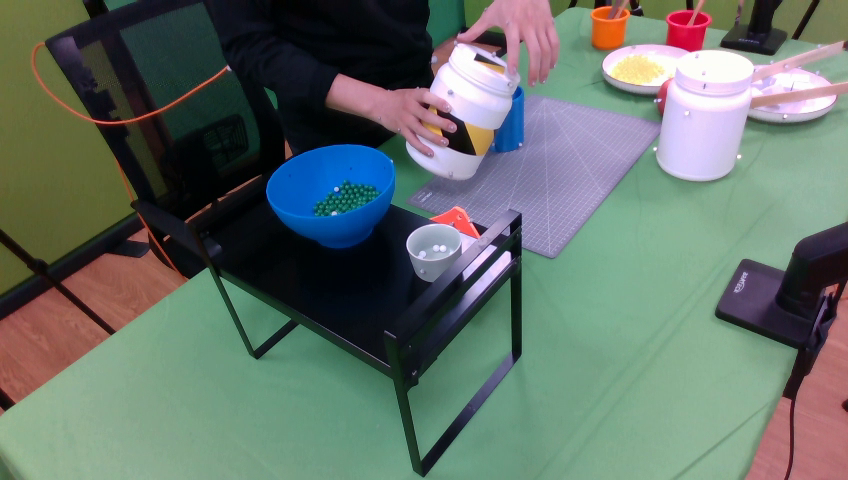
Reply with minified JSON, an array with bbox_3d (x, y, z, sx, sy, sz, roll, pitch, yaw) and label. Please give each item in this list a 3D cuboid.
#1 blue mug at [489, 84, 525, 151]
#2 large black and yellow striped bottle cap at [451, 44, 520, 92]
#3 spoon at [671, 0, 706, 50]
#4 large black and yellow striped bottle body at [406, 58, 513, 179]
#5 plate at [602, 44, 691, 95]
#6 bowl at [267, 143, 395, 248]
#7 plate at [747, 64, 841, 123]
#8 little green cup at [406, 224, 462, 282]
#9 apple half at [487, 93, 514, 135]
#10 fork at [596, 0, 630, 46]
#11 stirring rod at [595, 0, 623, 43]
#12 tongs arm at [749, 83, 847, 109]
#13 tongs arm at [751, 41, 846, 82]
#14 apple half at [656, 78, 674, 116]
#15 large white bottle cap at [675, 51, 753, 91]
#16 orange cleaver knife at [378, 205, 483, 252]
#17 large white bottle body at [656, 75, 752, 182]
[{"bbox_3d":[0.138,-0.240,1.169,0.116,0.106,0.082,10,44,21],"label":"blue mug"},{"bbox_3d":[0.097,-0.270,0.944,0.115,0.019,0.114,21,34,-14],"label":"large black and yellow striped bottle cap"},{"bbox_3d":[0.629,-0.520,1.394,0.041,0.022,0.193,30,96,34],"label":"spoon"},{"bbox_3d":[0.063,-0.207,0.988,0.131,0.184,0.130,20,32,-13],"label":"large black and yellow striped bottle body"},{"bbox_3d":[0.495,-0.367,1.317,0.209,0.038,0.208,-4,40,4],"label":"plate"},{"bbox_3d":[-0.104,-0.043,0.726,0.151,0.077,0.150,-4,40,4],"label":"bowl"},{"bbox_3d":[0.695,-0.283,1.189,0.207,0.039,0.206,-4,40,4],"label":"plate"},{"bbox_3d":[0.012,0.015,0.668,0.061,0.039,0.061,-4,40,4],"label":"little green cup"},{"bbox_3d":[0.141,-0.238,1.158,0.033,0.081,0.080,-12,40,-15],"label":"apple half"},{"bbox_3d":[0.481,-0.556,1.452,0.028,0.019,0.207,40,103,40],"label":"fork"},{"bbox_3d":[0.460,-0.556,1.459,0.014,0.006,0.176,30,93,23],"label":"stirring rod"},{"bbox_3d":[0.734,-0.280,1.134,0.388,0.028,0.028,-9,47,-5],"label":"tongs arm"},{"bbox_3d":[0.708,-0.331,1.194,0.386,0.026,0.050,-18,45,-16],"label":"tongs arm"},{"bbox_3d":[0.488,-0.281,1.192,0.053,0.075,0.081,24,53,37],"label":"apple half"},{"bbox_3d":[0.463,-0.271,0.967,0.115,0.018,0.114,-4,40,3],"label":"large white bottle cap"},{"bbox_3d":[0.005,-0.010,0.944,0.210,0.077,0.012,-4,23,47],"label":"orange cleaver knife"},{"bbox_3d":[0.472,-0.207,1.022,0.130,0.185,0.130,-4,41,4],"label":"large white bottle body"}]
